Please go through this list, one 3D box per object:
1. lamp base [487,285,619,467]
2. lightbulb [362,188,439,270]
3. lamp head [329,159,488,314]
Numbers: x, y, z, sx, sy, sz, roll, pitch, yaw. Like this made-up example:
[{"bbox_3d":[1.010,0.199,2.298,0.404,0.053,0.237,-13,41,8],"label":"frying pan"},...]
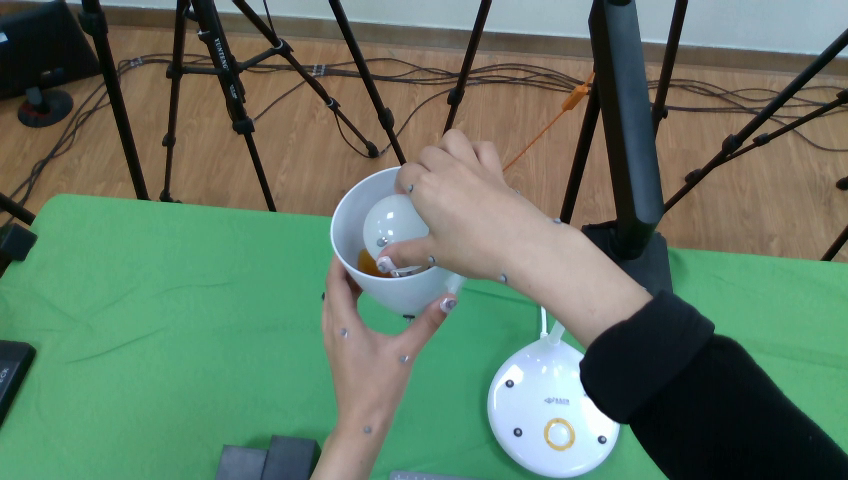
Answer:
[{"bbox_3d":[0.155,0.144,0.685,0.161,0.182,0.177,-6,55,-4],"label":"lamp base"},{"bbox_3d":[-0.015,0.001,0.490,0.059,0.108,0.059,-4,61,7],"label":"lightbulb"},{"bbox_3d":[-0.006,0.009,0.513,0.112,0.124,0.111,-8,56,13],"label":"lamp head"}]
